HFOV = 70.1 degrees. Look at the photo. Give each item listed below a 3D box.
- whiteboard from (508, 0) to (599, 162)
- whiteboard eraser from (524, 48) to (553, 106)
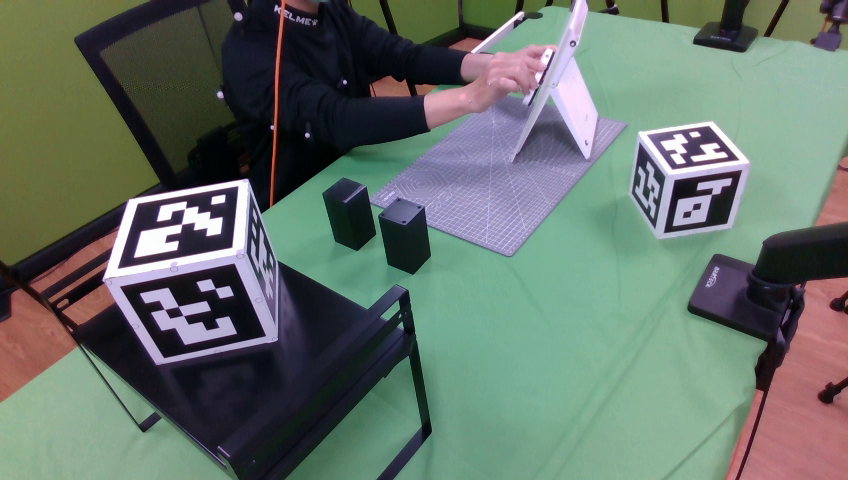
[{"bbox_3d":[0.285,-0.289,1.090,0.144,0.305,0.217,22,45,4],"label":"whiteboard"},{"bbox_3d":[0.201,-0.284,1.060,0.019,0.101,0.041,18,26,-2],"label":"whiteboard eraser"}]
